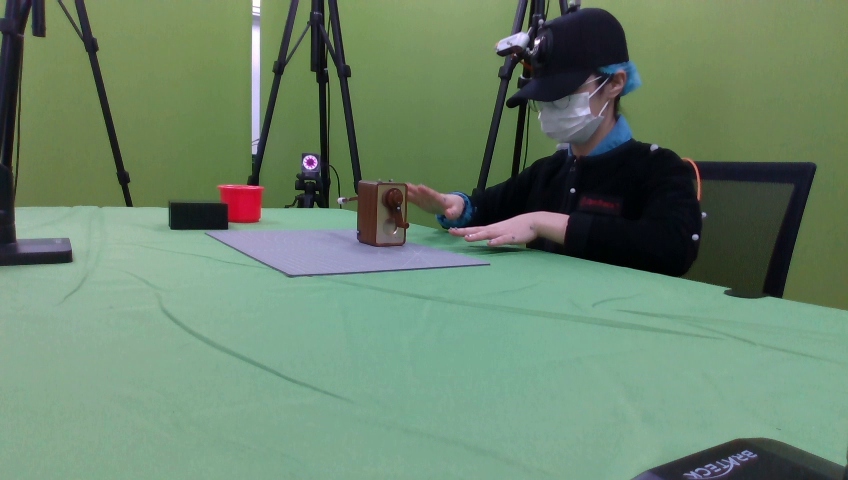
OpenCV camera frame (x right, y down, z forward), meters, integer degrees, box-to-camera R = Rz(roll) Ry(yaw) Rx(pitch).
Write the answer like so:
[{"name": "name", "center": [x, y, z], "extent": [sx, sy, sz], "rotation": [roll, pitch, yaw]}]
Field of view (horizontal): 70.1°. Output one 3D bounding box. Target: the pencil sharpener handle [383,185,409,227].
[{"name": "pencil sharpener handle", "center": [-0.040, -0.055, 0.976], "extent": [0.036, 0.068, 0.030], "rotation": [-19, 17, -29]}]

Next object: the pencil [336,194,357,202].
[{"name": "pencil", "center": [-0.122, -0.080, 1.103], "extent": [0.012, 0.012, 0.193], "rotation": [-2, 0, -29]}]

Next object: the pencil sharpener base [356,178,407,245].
[{"name": "pencil sharpener base", "center": [-0.071, -0.049, 1.018], "extent": [0.062, 0.107, 0.076], "rotation": [-2, 9, -32]}]
